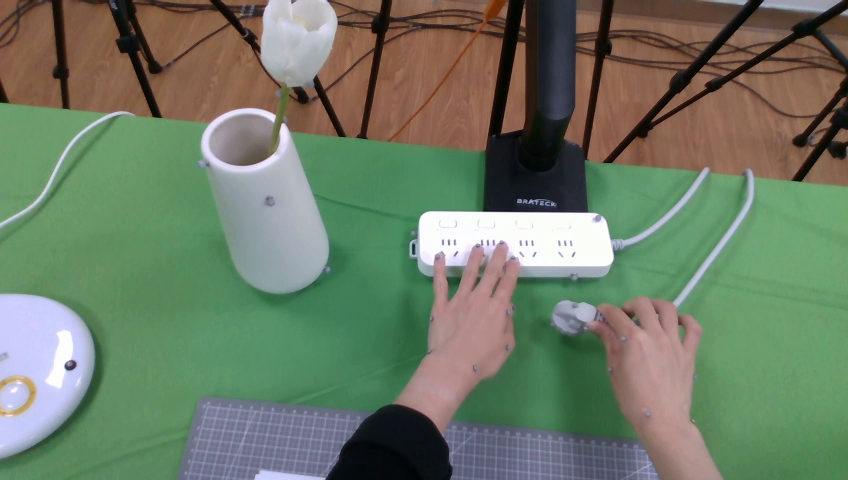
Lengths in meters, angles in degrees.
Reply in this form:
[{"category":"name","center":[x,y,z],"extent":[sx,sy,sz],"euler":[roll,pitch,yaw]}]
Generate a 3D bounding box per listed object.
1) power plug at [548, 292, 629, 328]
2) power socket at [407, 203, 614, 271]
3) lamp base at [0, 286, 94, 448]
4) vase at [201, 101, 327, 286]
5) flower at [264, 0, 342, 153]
[{"category":"power plug","center":[0.158,0.080,0.606],"extent":[0.072,0.053,0.035],"euler":[36,67,13]},{"category":"power socket","center":[0.095,-0.003,0.662],"extent":[0.227,0.033,0.071],"euler":[1,60,-3]},{"category":"lamp base","center":[-0.400,0.069,0.503],"extent":[0.178,0.182,0.160],"euler":[34,63,20]},{"category":"vase","center":[-0.149,-0.037,0.570],"extent":[0.098,0.201,0.097],"euler":[1,58,-1]},{"category":"flower","center":[-0.127,-0.070,0.496],"extent":[0.044,0.362,0.038],"euler":[-34,83,-30]}]
